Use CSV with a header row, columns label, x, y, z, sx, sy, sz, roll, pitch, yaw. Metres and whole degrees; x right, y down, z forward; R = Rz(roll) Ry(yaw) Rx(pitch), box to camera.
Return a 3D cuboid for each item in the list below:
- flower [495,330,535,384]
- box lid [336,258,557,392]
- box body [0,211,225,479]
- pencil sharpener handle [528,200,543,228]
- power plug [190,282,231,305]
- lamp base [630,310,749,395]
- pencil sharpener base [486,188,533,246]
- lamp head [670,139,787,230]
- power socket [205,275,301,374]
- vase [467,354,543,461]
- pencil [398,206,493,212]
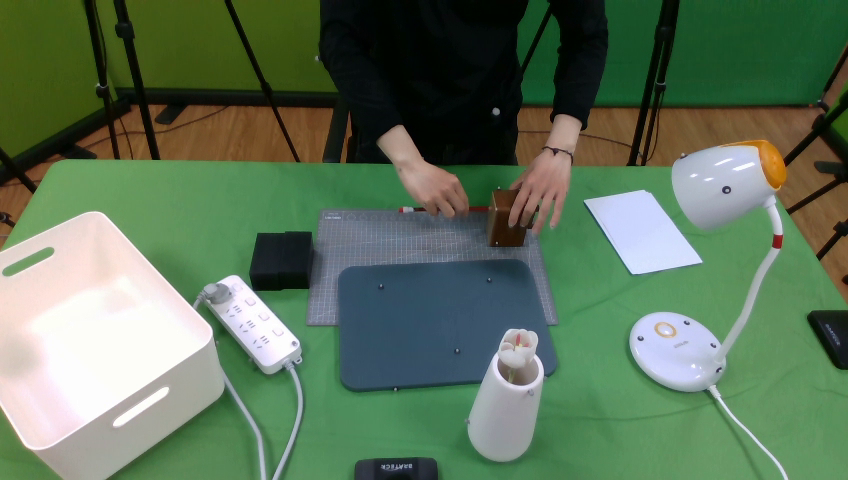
label,x,y,z,sx,sy,sz,roll,pitch,yaw
flower,0.110,0.187,0.791,0.044,0.363,0.038,-32,65,-10
box lid,0.030,0.140,1.073,0.372,0.015,0.261,-3,47,-7
box body,-0.504,0.154,0.916,0.362,0.161,0.254,36,54,27
pencil sharpener handle,0.220,-0.051,1.183,0.031,0.068,0.036,-1,37,-5
power plug,-0.368,0.098,1.039,0.072,0.053,0.035,-26,55,-20
lamp base,0.447,0.143,0.984,0.161,0.181,0.178,-24,55,-24
pencil sharpener base,0.168,-0.044,1.189,0.077,0.107,0.061,-1,46,-5
lamp head,0.415,-0.079,0.812,0.113,0.123,0.112,12,70,-37
power socket,-0.296,0.140,1.035,0.072,0.033,0.225,-32,57,-29
vase,0.116,0.234,0.861,0.098,0.201,0.097,1,47,-1
pencil,0.047,-0.060,1.164,0.194,0.012,0.012,-1,46,-3
